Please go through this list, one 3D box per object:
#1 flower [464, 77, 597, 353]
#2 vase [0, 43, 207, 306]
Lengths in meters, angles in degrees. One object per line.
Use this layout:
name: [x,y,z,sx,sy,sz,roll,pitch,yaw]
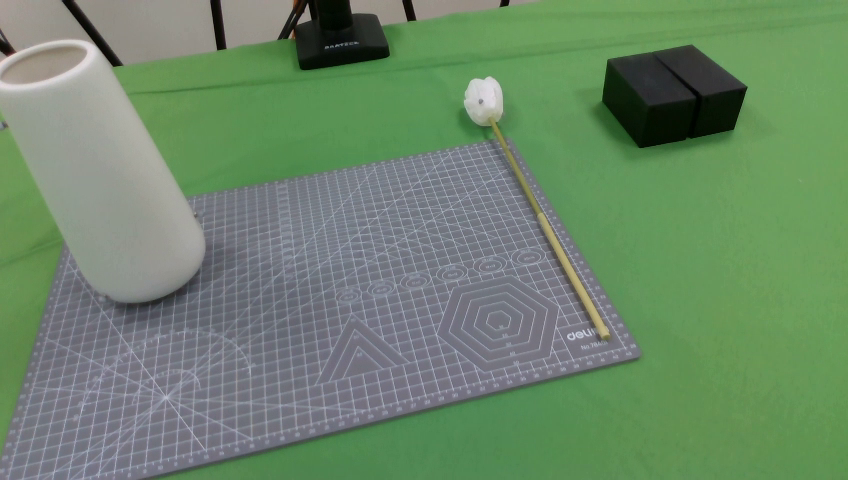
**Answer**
flower: [0.096,-0.045,0.575,0.044,0.038,0.357,-32,45,19]
vase: [-0.240,-0.042,0.464,0.098,0.202,0.097,-2,42,2]
